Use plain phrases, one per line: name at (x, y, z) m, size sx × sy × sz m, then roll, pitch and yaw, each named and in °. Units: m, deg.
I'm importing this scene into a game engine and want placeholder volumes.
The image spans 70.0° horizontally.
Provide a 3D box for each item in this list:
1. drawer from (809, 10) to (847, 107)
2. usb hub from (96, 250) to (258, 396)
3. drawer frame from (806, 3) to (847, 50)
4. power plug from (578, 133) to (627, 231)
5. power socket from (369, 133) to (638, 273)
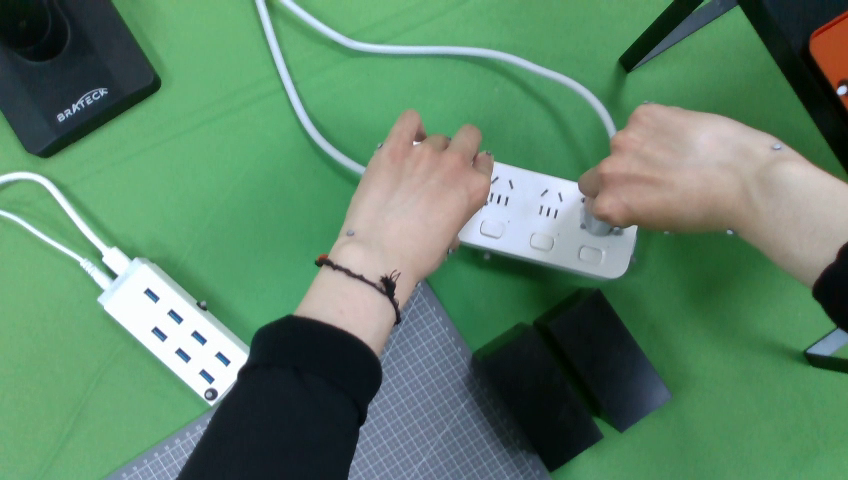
drawer at (0.353, -0.089, 0.318) m, size 0.212 × 0.073 × 0.194 m, roll -32°, pitch 89°, yaw -4°
usb hub at (-0.199, 0.067, 0.491) m, size 0.125 × 0.025 × 0.049 m, roll 42°, pitch 88°, yaw 0°
drawer frame at (0.355, -0.092, 0.317) m, size 0.213 × 0.083 × 0.201 m, roll -33°, pitch 89°, yaw -4°
power plug at (0.151, -0.042, 0.490) m, size 0.035 × 0.053 × 0.072 m, roll 26°, pitch 83°, yaw 0°
power socket at (0.069, -0.030, 0.504) m, size 0.227 × 0.032 × 0.072 m, roll 15°, pitch 86°, yaw -1°
